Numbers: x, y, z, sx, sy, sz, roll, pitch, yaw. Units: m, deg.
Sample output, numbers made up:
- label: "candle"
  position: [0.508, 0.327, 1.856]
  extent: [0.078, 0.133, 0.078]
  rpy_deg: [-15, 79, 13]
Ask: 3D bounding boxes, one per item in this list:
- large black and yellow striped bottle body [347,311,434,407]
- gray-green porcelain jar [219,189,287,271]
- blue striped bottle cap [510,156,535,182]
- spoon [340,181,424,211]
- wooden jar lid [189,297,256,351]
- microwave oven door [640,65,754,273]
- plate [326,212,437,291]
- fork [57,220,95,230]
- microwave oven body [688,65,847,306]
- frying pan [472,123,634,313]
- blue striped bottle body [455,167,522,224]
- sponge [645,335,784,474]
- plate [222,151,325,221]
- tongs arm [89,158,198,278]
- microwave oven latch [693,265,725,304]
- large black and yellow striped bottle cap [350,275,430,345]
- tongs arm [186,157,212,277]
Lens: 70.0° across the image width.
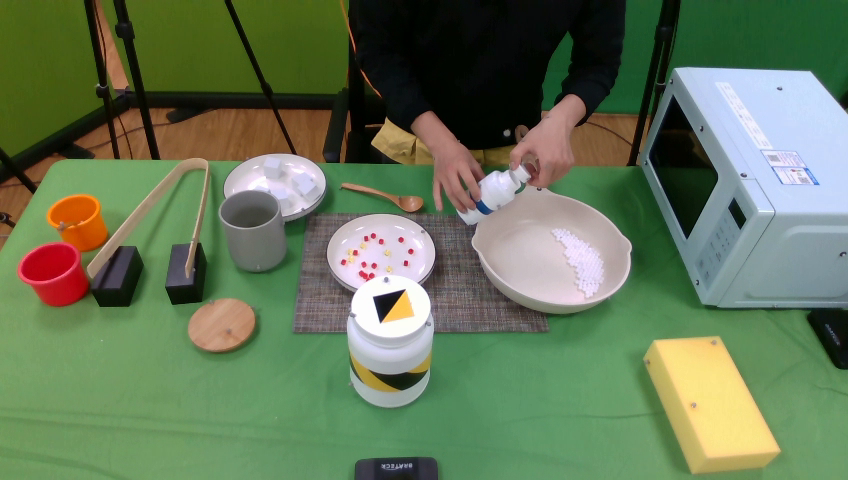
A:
- label: "large black and yellow striped bottle body"
  position: [-0.052, 0.157, 0.929]
  extent: [0.131, 0.185, 0.130]
  rpy_deg: [2, 47, -2]
- label: "gray-green porcelain jar"
  position: [-0.310, -0.014, 1.113]
  extent: [0.106, 0.127, 0.105]
  rpy_deg: [2, 46, -2]
- label: "blue striped bottle cap"
  position: [0.174, -0.126, 1.067]
  extent: [0.045, 0.020, 0.044]
  rpy_deg: [30, 39, -28]
- label: "spoon"
  position: [-0.090, -0.100, 1.282]
  extent: [0.193, 0.022, 0.041]
  rpy_deg: [18, 64, 13]
- label: "wooden jar lid"
  position: [-0.342, 0.145, 1.033]
  extent: [0.108, 0.021, 0.107]
  rpy_deg: [2, 45, -2]
- label: "microwave oven door"
  position: [0.524, -0.148, 1.193]
  extent: [0.039, 0.245, 0.353]
  rpy_deg: [0, 47, -3]
- label: "plate"
  position: [-0.080, 0.030, 1.143]
  extent: [0.209, 0.038, 0.208]
  rpy_deg: [3, 46, -2]
- label: "fork"
  position: [-0.624, -0.027, 1.086]
  extent: [0.028, 0.207, 0.018]
  rpy_deg: [-3, 92, -17]
- label: "microwave oven body"
  position: [0.669, -0.111, 1.176]
  extent: [0.326, 0.261, 0.439]
  rpy_deg: [0, 46, -3]
- label: "frying pan"
  position: [0.235, -0.061, 1.207]
  extent: [0.307, 0.103, 0.484]
  rpy_deg: [1, 55, -6]
- label: "blue striped bottle body"
  position: [0.120, -0.085, 1.103]
  extent: [0.063, 0.121, 0.062]
  rpy_deg: [37, 35, -31]
- label: "sponge"
  position: [0.449, 0.253, 0.956]
  extent: [0.118, 0.061, 0.205]
  rpy_deg: [-4, 46, -7]
- label: "plate"
  position: [-0.310, -0.106, 1.263]
  extent: [0.208, 0.039, 0.206]
  rpy_deg: [2, 47, -2]
- label: "tongs arm"
  position: [-0.529, -0.057, 1.164]
  extent: [0.028, 0.028, 0.385]
  rpy_deg: [1, 36, 8]
- label: "microwave oven latch"
  position: [0.523, 0.081, 1.116]
  extent: [0.030, 0.029, 0.078]
  rpy_deg: [2, 46, -1]
- label: "large black and yellow striped bottle cap"
  position: [-0.048, 0.097, 0.868]
  extent: [0.115, 0.019, 0.114]
  rpy_deg: [3, 48, -3]
- label: "tongs arm"
  position: [-0.445, -0.058, 1.168]
  extent: [0.051, 0.026, 0.382]
  rpy_deg: [-5, 37, -6]
